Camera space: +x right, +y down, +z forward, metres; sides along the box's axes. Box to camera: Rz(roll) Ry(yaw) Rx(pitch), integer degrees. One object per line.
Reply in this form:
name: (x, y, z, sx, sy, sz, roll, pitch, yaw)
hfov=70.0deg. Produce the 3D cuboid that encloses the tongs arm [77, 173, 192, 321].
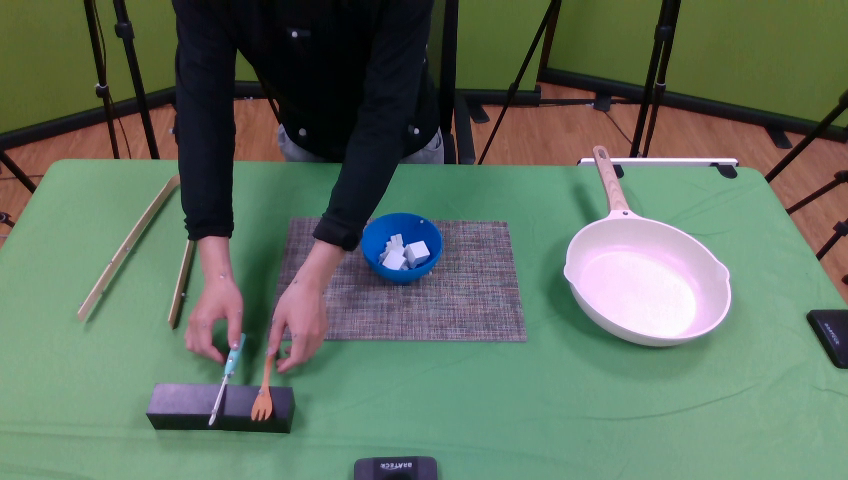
tongs arm: (-0.535, -0.001, 1.148, 0.051, 0.026, 0.382, 7, 45, 1)

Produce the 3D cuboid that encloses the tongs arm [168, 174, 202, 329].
tongs arm: (-0.455, 0.007, 1.154, 0.028, 0.028, 0.385, -5, 47, -6)

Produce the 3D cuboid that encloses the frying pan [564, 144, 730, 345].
frying pan: (0.396, -0.008, 1.179, 0.307, 0.103, 0.484, 0, 55, -5)

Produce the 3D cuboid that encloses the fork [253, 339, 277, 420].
fork: (-0.240, 0.209, 0.932, 0.028, 0.019, 0.206, -26, 27, 4)

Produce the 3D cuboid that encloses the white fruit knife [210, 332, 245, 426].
white fruit knife: (-0.301, 0.206, 0.930, 0.016, 0.027, 0.206, 5, 29, -7)

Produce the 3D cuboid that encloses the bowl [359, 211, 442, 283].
bowl: (-0.044, 0.026, 1.124, 0.151, 0.077, 0.150, 2, 46, -2)
